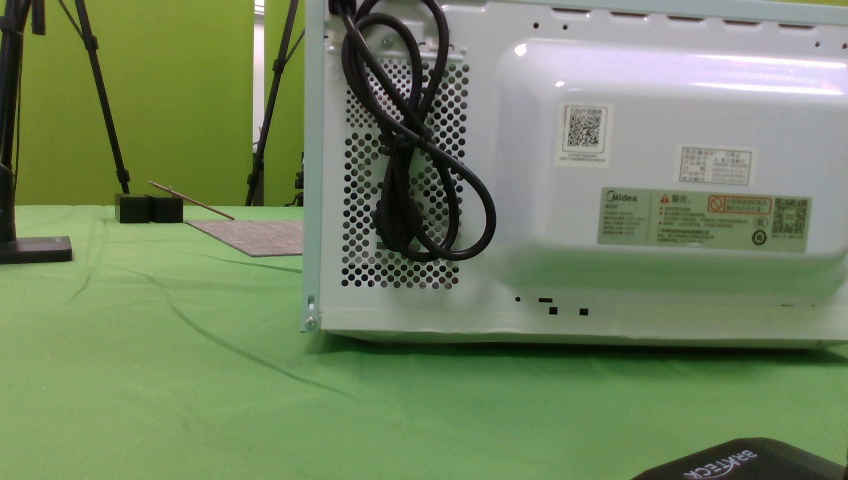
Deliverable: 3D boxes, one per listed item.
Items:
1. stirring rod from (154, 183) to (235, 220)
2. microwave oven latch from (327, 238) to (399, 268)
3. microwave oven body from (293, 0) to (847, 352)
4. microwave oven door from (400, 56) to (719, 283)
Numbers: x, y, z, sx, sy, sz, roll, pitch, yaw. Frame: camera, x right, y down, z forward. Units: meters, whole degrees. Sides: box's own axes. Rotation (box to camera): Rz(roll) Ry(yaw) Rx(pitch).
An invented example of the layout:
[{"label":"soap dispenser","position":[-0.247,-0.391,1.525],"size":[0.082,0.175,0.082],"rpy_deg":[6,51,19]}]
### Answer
[{"label":"stirring rod","position":[-0.472,-0.079,1.252],"size":[0.177,0.006,0.014],"rpy_deg":[27,3,-35]},{"label":"microwave oven latch","position":[-0.069,0.015,0.694],"size":[0.079,0.029,0.030],"rpy_deg":[3,7,-3]},{"label":"microwave oven body","position":[0.122,-0.055,0.550],"size":[0.442,0.260,0.325],"rpy_deg":[3,7,-5]},{"label":"microwave oven door","position":[0.155,-0.077,0.697],"size":[0.356,0.243,0.039],"rpy_deg":[2,8,-5]}]
